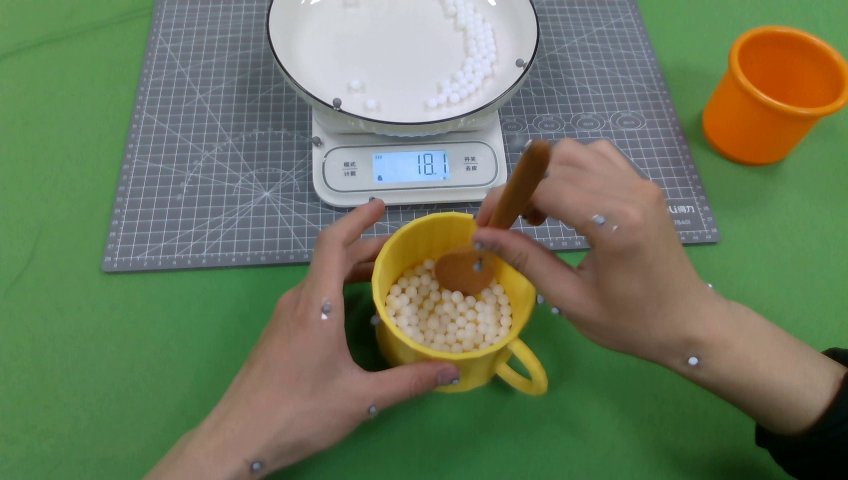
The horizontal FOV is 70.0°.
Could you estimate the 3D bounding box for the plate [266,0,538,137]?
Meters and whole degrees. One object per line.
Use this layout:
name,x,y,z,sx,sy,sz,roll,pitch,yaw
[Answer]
plate,-0.016,-0.160,0.478,0.209,0.038,0.207,2,61,-3

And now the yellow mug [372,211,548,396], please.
yellow mug,0.029,0.050,0.386,0.100,0.064,0.130,-41,71,-20

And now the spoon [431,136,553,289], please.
spoon,0.036,-0.005,0.334,0.041,0.194,0.021,20,71,-2

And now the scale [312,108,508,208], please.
scale,-0.016,-0.119,0.492,0.149,0.032,0.199,-3,62,-4
